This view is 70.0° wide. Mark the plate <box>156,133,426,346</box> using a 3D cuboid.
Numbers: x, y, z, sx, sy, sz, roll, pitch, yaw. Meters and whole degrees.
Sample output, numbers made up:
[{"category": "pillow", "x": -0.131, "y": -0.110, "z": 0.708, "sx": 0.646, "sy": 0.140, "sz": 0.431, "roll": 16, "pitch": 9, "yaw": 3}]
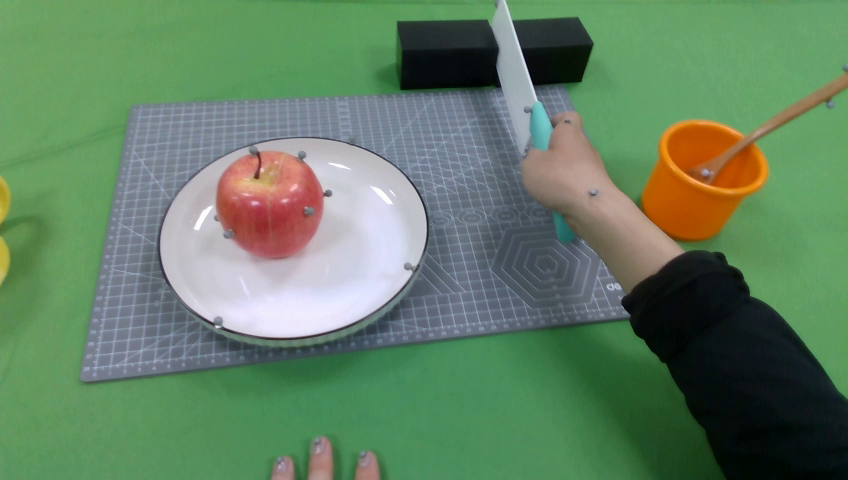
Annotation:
[{"category": "plate", "x": -0.103, "y": -0.003, "z": 0.490, "sx": 0.209, "sy": 0.038, "sz": 0.207, "roll": 3, "pitch": 52, "yaw": -3}]

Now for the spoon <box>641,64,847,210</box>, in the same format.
[{"category": "spoon", "x": 0.277, "y": -0.087, "z": 0.524, "sx": 0.022, "sy": 0.194, "sz": 0.041, "roll": 27, "pitch": 34, "yaw": -43}]

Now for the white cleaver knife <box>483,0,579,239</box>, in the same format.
[{"category": "white cleaver knife", "x": 0.096, "y": -0.124, "z": 0.578, "sx": 0.021, "sy": 0.066, "sz": 0.283, "roll": -4, "pitch": 60, "yaw": -11}]

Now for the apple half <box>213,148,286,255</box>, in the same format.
[{"category": "apple half", "x": -0.135, "y": -0.029, "z": 0.474, "sx": 0.053, "sy": 0.075, "sz": 0.080, "roll": 2, "pitch": 55, "yaw": 2}]

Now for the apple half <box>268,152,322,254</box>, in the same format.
[{"category": "apple half", "x": -0.096, "y": -0.027, "z": 0.475, "sx": 0.033, "sy": 0.082, "sz": 0.080, "roll": 1, "pitch": 52, "yaw": 2}]

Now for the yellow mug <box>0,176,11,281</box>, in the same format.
[{"category": "yellow mug", "x": -0.368, "y": -0.004, "z": 0.451, "sx": 0.099, "sy": 0.064, "sz": 0.130, "roll": 22, "pitch": 53, "yaw": 12}]
